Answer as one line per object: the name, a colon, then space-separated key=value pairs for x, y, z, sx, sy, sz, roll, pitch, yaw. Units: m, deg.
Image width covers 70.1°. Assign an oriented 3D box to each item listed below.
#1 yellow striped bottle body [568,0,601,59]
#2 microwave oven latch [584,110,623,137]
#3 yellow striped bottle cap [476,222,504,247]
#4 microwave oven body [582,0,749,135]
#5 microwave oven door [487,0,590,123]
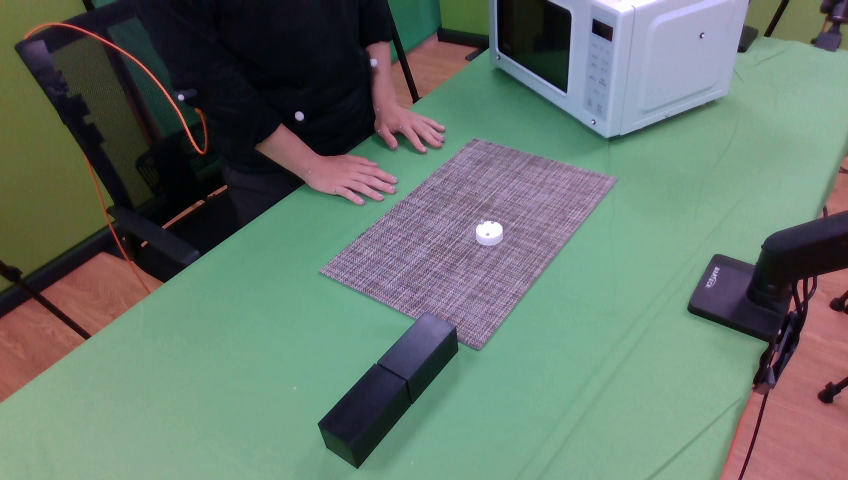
yellow striped bottle body: x=0.336 y=-0.448 z=1.268 sx=0.063 sy=0.121 sz=0.062 roll=-5 pitch=44 yaw=5
microwave oven latch: x=0.337 y=-0.222 z=1.142 sx=0.030 sy=0.029 sz=0.078 roll=-21 pitch=42 yaw=-14
yellow striped bottle cap: x=0.105 y=-0.010 z=0.966 sx=0.044 sy=0.019 sz=0.044 roll=-3 pitch=39 yaw=3
microwave oven body: x=0.382 y=-0.444 z=1.246 sx=0.327 sy=0.261 sz=0.437 roll=-22 pitch=42 yaw=-16
microwave oven door: x=0.232 y=-0.420 z=1.230 sx=0.039 sy=0.245 sz=0.352 roll=-22 pitch=43 yaw=-16
